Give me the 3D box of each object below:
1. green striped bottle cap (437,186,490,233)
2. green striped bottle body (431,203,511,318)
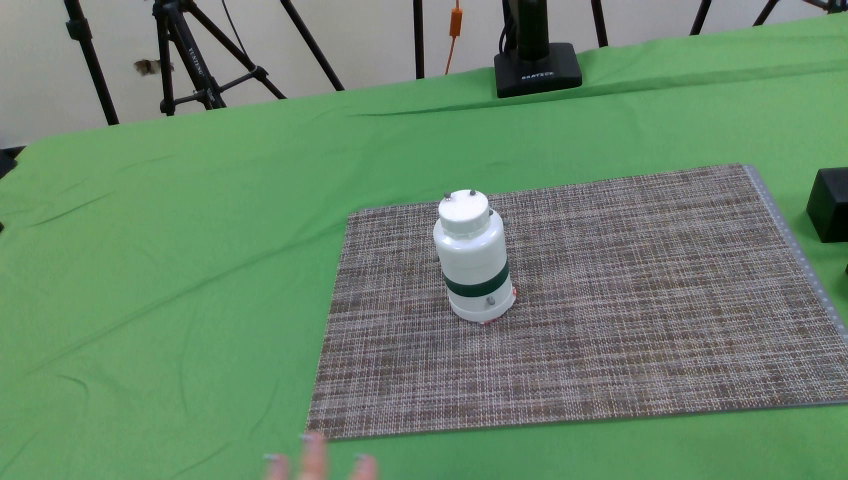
[{"bbox_3d":[0.033,-0.026,0.517,0.044,0.020,0.044,-9,43,9],"label":"green striped bottle cap"},{"bbox_3d":[0.043,0.011,0.552,0.063,0.120,0.062,-8,42,8],"label":"green striped bottle body"}]
